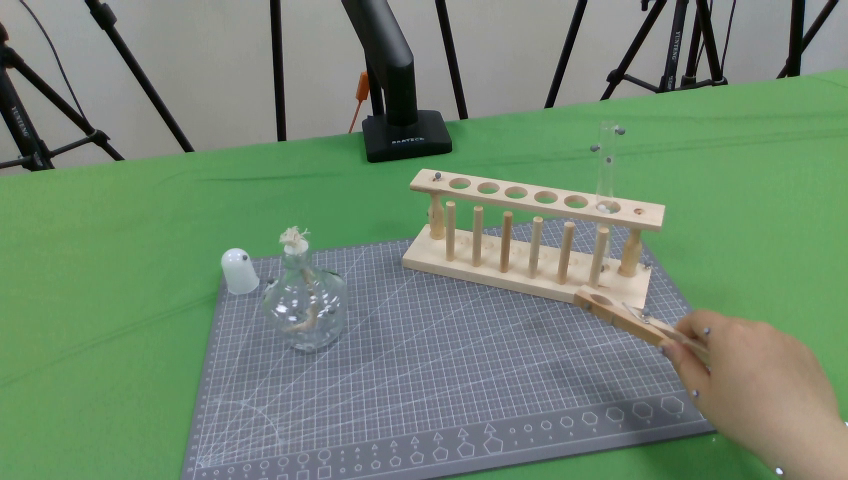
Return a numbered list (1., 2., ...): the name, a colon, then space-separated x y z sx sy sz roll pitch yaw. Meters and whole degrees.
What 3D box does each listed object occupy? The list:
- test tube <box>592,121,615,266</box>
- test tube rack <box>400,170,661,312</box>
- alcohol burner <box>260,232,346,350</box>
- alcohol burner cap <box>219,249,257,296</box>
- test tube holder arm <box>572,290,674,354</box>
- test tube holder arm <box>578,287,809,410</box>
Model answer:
1. test tube: 0.164 -0.038 0.556 0.017 0.151 0.017 -6 35 4
2. test tube rack: 0.096 -0.001 0.597 0.241 0.086 0.066 11 40 20
3. alcohol burner: -0.110 0.041 0.538 0.078 0.120 0.077 -1 38 1
4. alcohol burner cap: -0.192 0.030 0.619 0.034 0.048 0.033 -1 37 1
5. test tube holder arm: 0.158 0.065 0.484 0.087 0.015 0.010 27 52 33
6. test tube holder arm: 0.196 0.078 0.462 0.177 0.015 0.013 26 51 33
